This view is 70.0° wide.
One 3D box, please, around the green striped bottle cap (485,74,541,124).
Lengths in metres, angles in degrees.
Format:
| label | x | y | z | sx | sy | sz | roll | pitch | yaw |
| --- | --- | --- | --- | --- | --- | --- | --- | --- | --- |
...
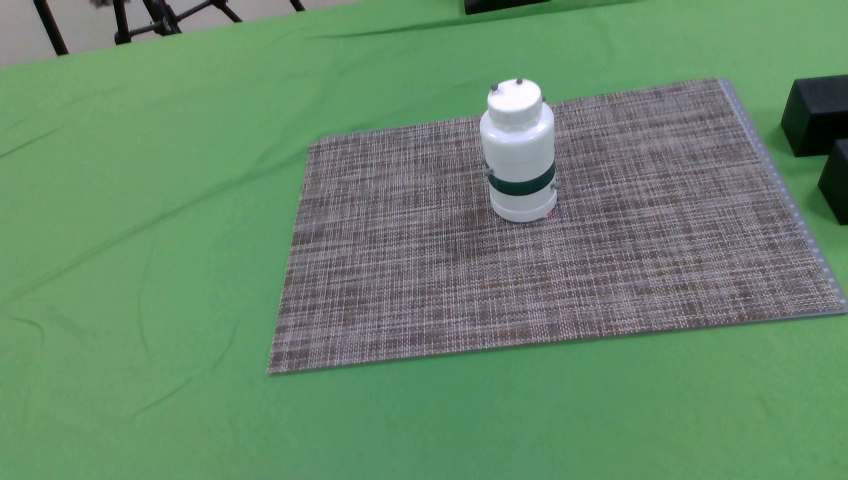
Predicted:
| label | x | y | z | sx | sy | sz | roll | pitch | yaw |
| --- | --- | --- | --- | --- | --- | --- | --- | --- | --- |
| green striped bottle cap | 0.073 | -0.115 | 0.493 | 0.044 | 0.020 | 0.044 | -8 | 49 | 10 |

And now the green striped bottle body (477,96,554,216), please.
| label | x | y | z | sx | sy | sz | roll | pitch | yaw |
| --- | --- | --- | --- | --- | --- | --- | --- | --- | --- |
| green striped bottle body | 0.081 | -0.082 | 0.533 | 0.063 | 0.120 | 0.062 | -7 | 49 | 8 |
